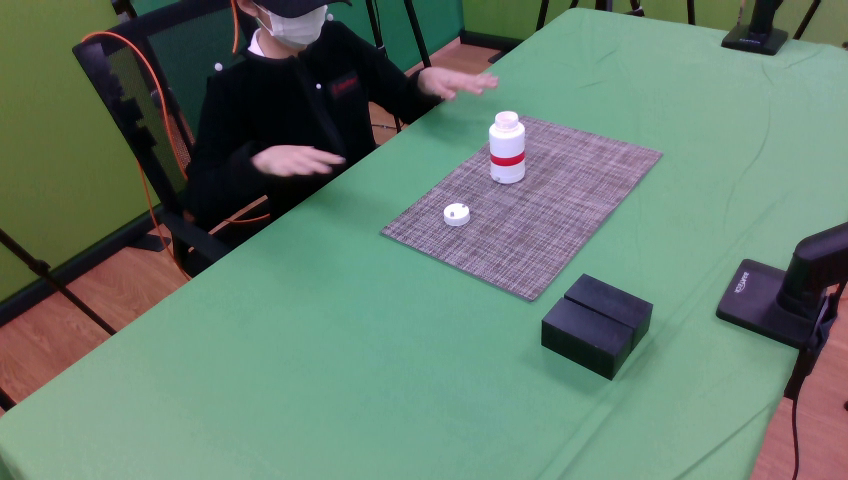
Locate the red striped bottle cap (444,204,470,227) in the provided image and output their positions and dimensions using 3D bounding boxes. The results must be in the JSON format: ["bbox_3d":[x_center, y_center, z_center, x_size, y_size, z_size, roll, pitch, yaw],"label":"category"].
[{"bbox_3d":[0.055,-0.042,1.016,0.044,0.018,0.044,-2,42,3],"label":"red striped bottle cap"}]

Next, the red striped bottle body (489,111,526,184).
[{"bbox_3d":[0.147,-0.164,1.064,0.063,0.120,0.062,-5,39,4],"label":"red striped bottle body"}]
